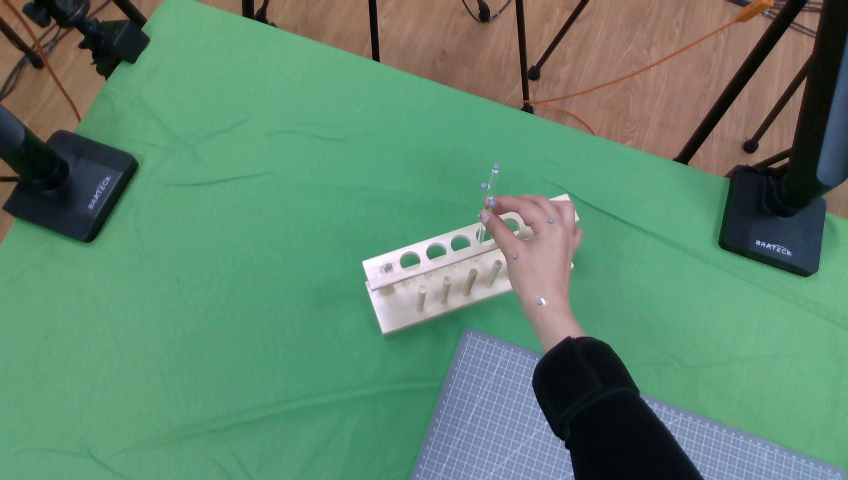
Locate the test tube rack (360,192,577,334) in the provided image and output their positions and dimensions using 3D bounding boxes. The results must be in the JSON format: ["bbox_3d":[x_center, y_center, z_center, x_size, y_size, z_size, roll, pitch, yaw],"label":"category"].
[{"bbox_3d":[0.055,0.027,0.687,0.242,0.085,0.066,-18,71,-9],"label":"test tube rack"}]

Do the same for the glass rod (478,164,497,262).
[{"bbox_3d":[0.065,-0.021,0.634,0.008,0.201,0.008,0,63,1],"label":"glass rod"}]
